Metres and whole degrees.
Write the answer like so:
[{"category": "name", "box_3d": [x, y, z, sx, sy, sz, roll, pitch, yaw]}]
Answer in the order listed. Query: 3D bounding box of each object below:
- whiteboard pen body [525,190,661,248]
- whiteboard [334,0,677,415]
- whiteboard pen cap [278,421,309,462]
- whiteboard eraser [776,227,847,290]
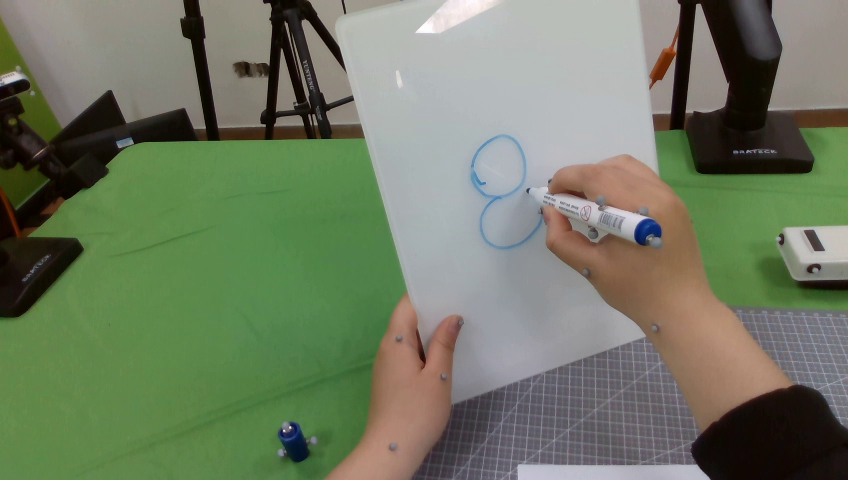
[{"category": "whiteboard pen body", "box_3d": [0.099, -0.018, 0.388, 0.017, 0.017, 0.139, -21, 20, -14]}, {"category": "whiteboard", "box_3d": [0.065, -0.049, 0.516, 0.217, 0.307, 0.143, -17, 19, -8]}, {"category": "whiteboard pen cap", "box_3d": [-0.100, 0.156, 0.466, 0.018, 0.033, 0.018, -5, 39, 5]}, {"category": "whiteboard eraser", "box_3d": [0.376, 0.016, 0.530, 0.112, 0.042, 0.055, -1, 42, 11]}]
